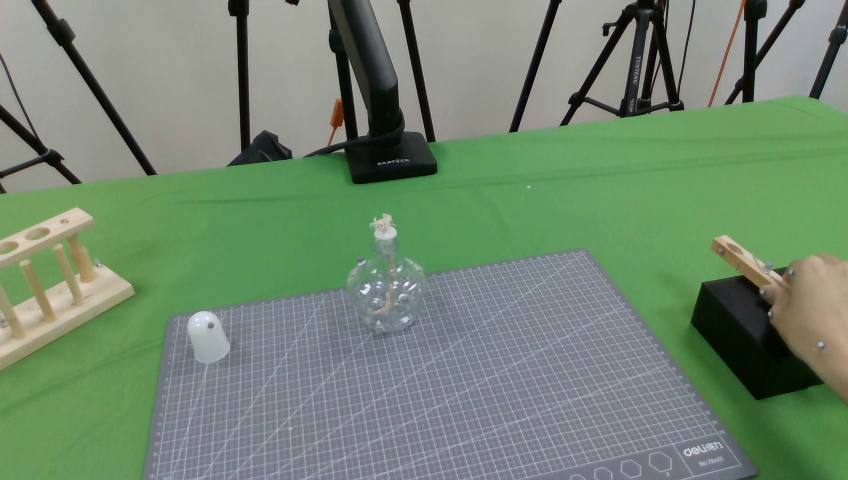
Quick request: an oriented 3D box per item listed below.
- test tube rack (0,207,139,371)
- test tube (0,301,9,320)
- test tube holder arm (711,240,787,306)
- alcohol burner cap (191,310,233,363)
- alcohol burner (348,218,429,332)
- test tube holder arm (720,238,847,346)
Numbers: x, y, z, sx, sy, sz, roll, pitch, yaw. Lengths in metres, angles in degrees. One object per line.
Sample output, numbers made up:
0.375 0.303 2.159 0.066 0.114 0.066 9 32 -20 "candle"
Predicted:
-0.403 0.066 0.556 0.066 0.086 0.242 24 42 31 "test tube rack"
-0.406 0.011 0.549 0.017 0.151 0.017 0 30 0 "test tube"
0.301 0.029 0.560 0.010 0.015 0.087 -22 40 -11 "test tube holder arm"
-0.196 0.086 0.555 0.034 0.048 0.033 0 36 1 "alcohol burner cap"
-0.034 0.029 0.568 0.078 0.120 0.077 0 37 0 "alcohol burner"
0.324 0.051 0.528 0.013 0.015 0.176 -23 40 -12 "test tube holder arm"
